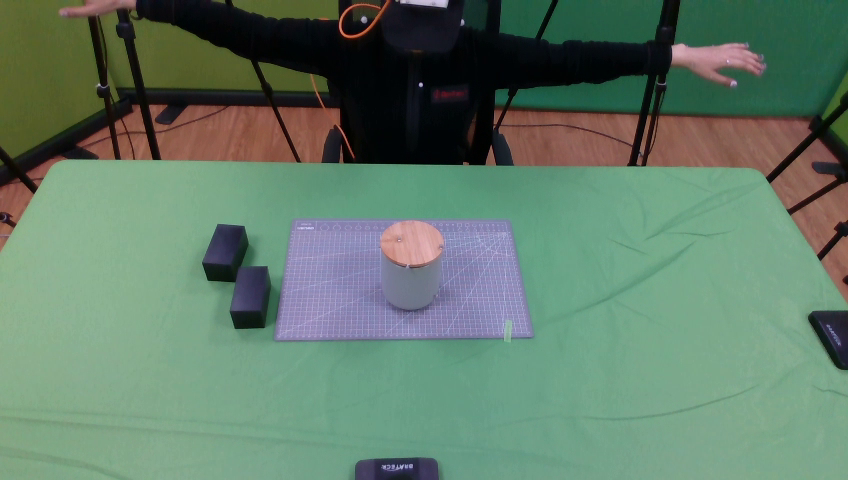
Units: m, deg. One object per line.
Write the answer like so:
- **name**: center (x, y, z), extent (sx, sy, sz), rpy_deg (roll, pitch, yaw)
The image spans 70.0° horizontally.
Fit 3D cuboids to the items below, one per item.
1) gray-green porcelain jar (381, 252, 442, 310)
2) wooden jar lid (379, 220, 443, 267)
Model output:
- **gray-green porcelain jar**: center (-0.023, 0.053, 1.068), extent (0.106, 0.127, 0.105), rpy_deg (2, 46, -2)
- **wooden jar lid**: center (-0.021, 0.009, 1.021), extent (0.108, 0.021, 0.107), rpy_deg (3, 45, -2)
